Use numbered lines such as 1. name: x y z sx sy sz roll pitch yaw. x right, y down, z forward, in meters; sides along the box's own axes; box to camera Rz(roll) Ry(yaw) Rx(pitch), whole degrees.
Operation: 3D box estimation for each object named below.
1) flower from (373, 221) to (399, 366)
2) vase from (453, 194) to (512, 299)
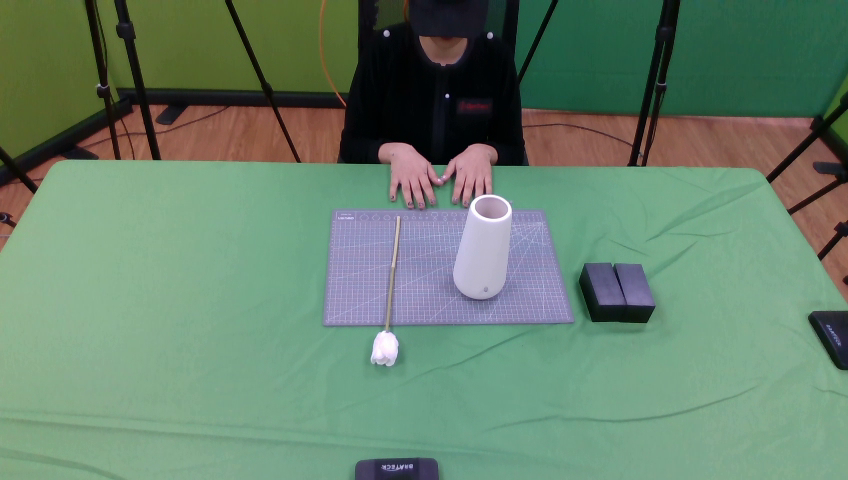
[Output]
1. flower: -0.061 0.080 1.122 0.044 0.038 0.359 -26 36 22
2. vase: 0.107 0.016 1.065 0.098 0.201 0.097 3 47 -3
